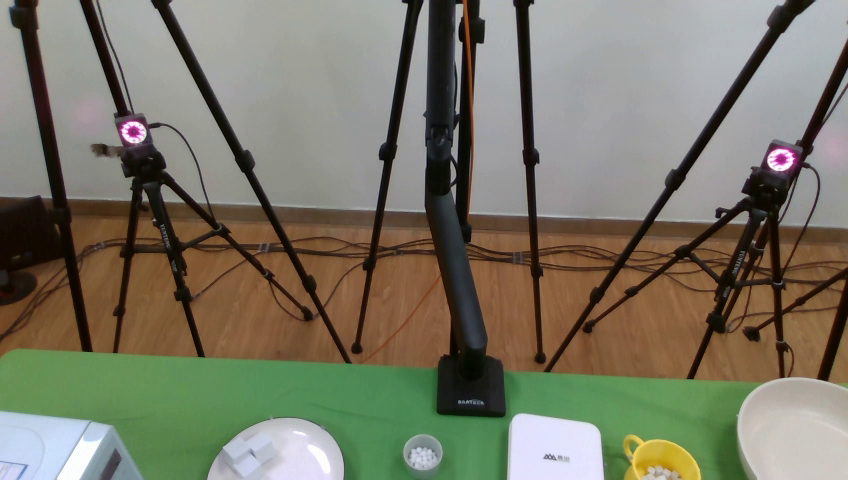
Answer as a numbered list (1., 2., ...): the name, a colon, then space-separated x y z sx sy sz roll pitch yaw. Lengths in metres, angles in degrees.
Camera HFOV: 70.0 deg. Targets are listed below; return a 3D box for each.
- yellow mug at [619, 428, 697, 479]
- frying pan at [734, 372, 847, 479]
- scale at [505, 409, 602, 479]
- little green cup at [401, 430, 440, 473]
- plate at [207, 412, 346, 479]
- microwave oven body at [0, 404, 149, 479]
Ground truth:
1. yellow mug: 0.350 0.347 0.939 0.100 0.064 0.129 -20 44 -22
2. frying pan: 0.670 0.393 0.866 0.307 0.103 0.482 -16 36 -17
3. scale: 0.202 0.361 0.946 0.148 0.032 0.199 6 41 6
4. little green cup: -0.005 0.338 0.962 0.061 0.039 0.061 1 40 0
5. plate: -0.222 0.362 0.929 0.208 0.039 0.205 1 41 -1
6. microwave oven body: -0.561 0.431 0.663 0.326 0.262 0.437 5 42 4
